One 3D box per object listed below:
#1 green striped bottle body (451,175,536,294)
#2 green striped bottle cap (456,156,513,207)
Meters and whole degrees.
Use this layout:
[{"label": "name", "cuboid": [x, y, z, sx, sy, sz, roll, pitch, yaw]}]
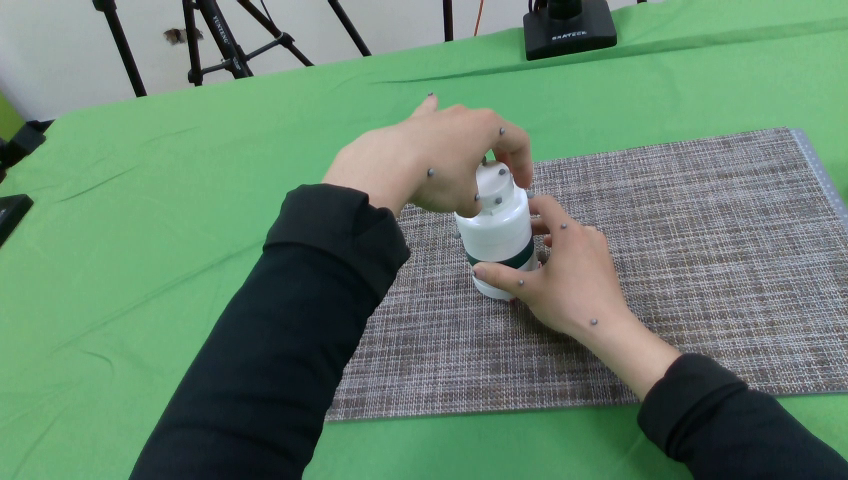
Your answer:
[{"label": "green striped bottle body", "cuboid": [0.061, -0.012, 0.527, 0.063, 0.120, 0.062, -10, 45, 10]}, {"label": "green striped bottle cap", "cuboid": [0.048, -0.047, 0.488, 0.044, 0.020, 0.044, -12, 44, 13]}]
